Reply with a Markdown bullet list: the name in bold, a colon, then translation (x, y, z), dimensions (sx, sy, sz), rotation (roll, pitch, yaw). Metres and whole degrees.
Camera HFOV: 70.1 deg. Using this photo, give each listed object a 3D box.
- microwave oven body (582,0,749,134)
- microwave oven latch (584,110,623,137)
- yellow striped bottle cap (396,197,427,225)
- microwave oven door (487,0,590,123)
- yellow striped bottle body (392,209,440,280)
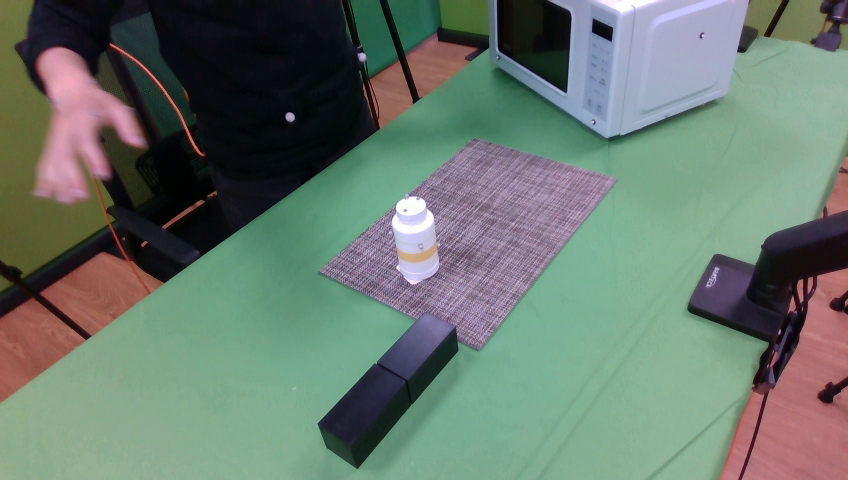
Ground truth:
- **microwave oven body**: translation (0.382, -0.444, 1.246), dimensions (0.327, 0.261, 0.437), rotation (-22, 42, -16)
- **microwave oven latch**: translation (0.336, -0.222, 1.142), dimensions (0.030, 0.029, 0.078), rotation (-21, 42, -15)
- **yellow striped bottle cap**: translation (-0.018, -0.042, 0.858), dimensions (0.044, 0.019, 0.044), rotation (-5, 38, 4)
- **microwave oven door**: translation (0.231, -0.420, 1.230), dimensions (0.039, 0.245, 0.352), rotation (-22, 43, -16)
- **yellow striped bottle body**: translation (-0.013, -0.003, 0.892), dimensions (0.063, 0.121, 0.062), rotation (-4, 41, 4)
